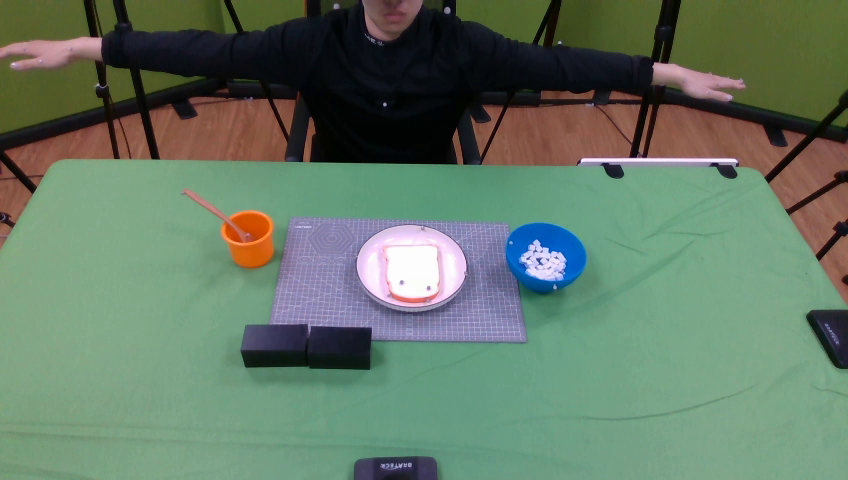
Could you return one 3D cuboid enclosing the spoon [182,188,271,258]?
[{"bbox_3d":[-0.361,-0.032,1.113,0.021,0.194,0.041,-26,30,35],"label":"spoon"}]

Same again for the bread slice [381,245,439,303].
[{"bbox_3d":[-0.022,0.061,1.126,0.107,0.018,0.133,-3,45,-8],"label":"bread slice"}]

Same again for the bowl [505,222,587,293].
[{"bbox_3d":[0.221,0.045,1.132,0.151,0.077,0.150,2,46,-2],"label":"bowl"}]

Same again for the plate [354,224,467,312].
[{"bbox_3d":[-0.025,0.055,1.128,0.209,0.038,0.208,3,46,-2],"label":"plate"}]
